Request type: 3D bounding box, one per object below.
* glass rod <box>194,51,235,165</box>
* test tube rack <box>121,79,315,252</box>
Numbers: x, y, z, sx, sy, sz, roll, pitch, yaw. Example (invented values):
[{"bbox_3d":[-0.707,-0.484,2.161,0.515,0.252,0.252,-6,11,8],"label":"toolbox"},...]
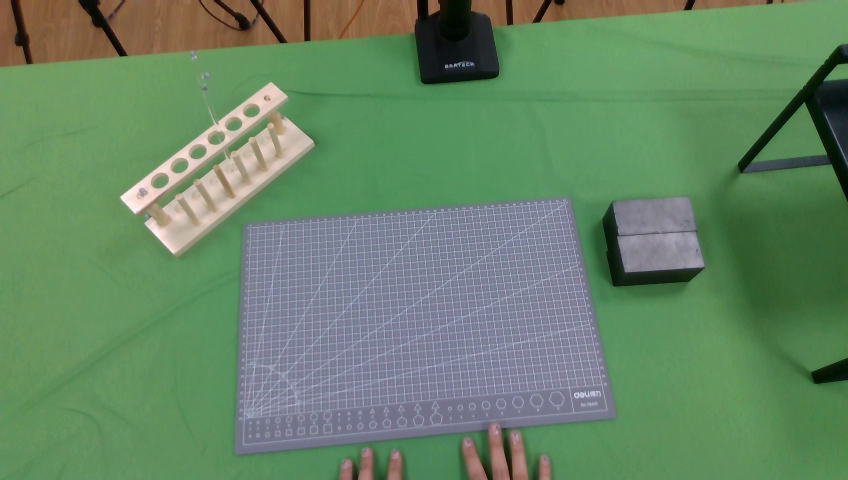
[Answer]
[{"bbox_3d":[-0.260,-0.158,0.761,0.008,0.201,0.008,2,59,-3],"label":"glass rod"},{"bbox_3d":[-0.265,-0.100,0.807,0.066,0.086,0.242,41,73,17],"label":"test tube rack"}]
